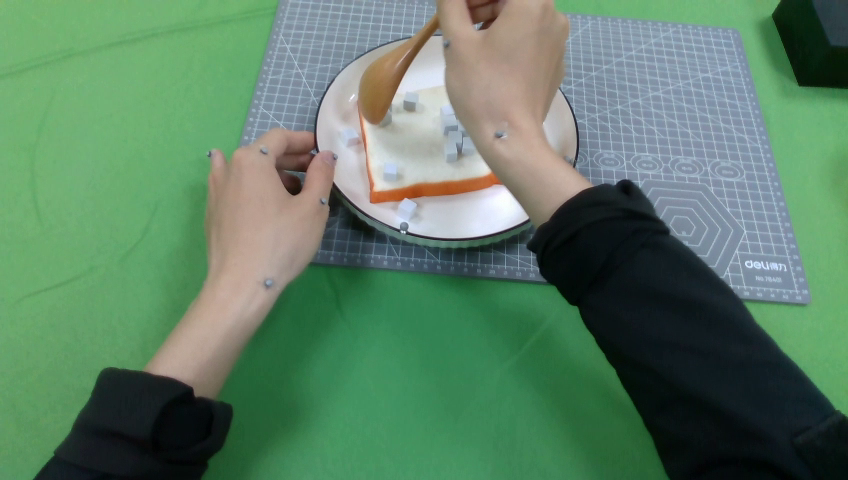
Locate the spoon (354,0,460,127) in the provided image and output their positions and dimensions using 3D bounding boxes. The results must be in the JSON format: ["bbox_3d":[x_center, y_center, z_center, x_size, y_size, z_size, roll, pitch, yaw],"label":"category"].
[{"bbox_3d":[0.003,-0.150,0.414,0.022,0.194,0.041,5,51,-46],"label":"spoon"}]

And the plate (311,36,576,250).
[{"bbox_3d":[0.015,-0.079,0.487,0.209,0.038,0.207,2,60,-3],"label":"plate"}]

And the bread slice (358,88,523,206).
[{"bbox_3d":[0.013,-0.082,0.493,0.132,0.019,0.104,-9,62,-6],"label":"bread slice"}]
